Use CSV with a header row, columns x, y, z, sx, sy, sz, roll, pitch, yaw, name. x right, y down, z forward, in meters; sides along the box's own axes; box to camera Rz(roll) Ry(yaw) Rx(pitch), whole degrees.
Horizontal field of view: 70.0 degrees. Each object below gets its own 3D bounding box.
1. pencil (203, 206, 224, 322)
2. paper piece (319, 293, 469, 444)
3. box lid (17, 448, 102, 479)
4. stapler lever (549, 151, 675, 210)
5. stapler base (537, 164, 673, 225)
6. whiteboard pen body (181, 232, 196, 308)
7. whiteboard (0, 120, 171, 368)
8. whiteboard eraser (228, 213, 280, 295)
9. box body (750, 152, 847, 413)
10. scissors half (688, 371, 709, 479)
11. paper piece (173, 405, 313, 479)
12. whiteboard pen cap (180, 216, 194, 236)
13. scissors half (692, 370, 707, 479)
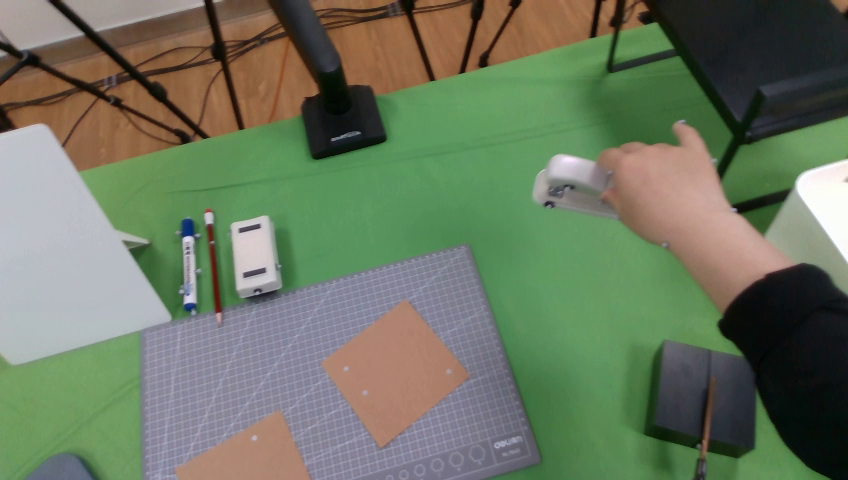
x,y,z,sx,sy,sz,roll,pitch,yaw,name
-0.292,0.030,0.843,0.012,0.012,0.192,-18,60,-4,pencil
-0.039,0.154,0.745,0.136,0.009,0.137,-37,65,-11,paper piece
-0.389,0.426,0.623,0.368,0.015,0.263,39,70,23,box lid
0.177,-0.057,0.570,0.118,0.040,0.026,13,77,9,stapler lever
0.178,-0.049,0.594,0.130,0.024,0.041,13,77,9,stapler base
-0.329,0.031,0.842,0.017,0.017,0.139,-14,59,-2,whiteboard pen body
-0.478,-0.017,0.753,0.217,0.308,0.142,-15,40,-3,whiteboard
-0.232,0.019,0.826,0.055,0.042,0.111,-16,60,-2,whiteboard eraser
0.562,0.079,0.642,0.254,0.162,0.360,-16,60,-3,box body
0.285,0.225,0.635,0.013,0.040,0.174,11,82,10,scissors half
-0.201,0.278,0.689,0.135,0.004,0.134,-28,62,-12,paper piece
-0.341,-0.018,0.871,0.018,0.018,0.033,-16,58,-4,whiteboard pen cap
0.282,0.217,0.616,0.012,0.040,0.174,9,64,15,scissors half
